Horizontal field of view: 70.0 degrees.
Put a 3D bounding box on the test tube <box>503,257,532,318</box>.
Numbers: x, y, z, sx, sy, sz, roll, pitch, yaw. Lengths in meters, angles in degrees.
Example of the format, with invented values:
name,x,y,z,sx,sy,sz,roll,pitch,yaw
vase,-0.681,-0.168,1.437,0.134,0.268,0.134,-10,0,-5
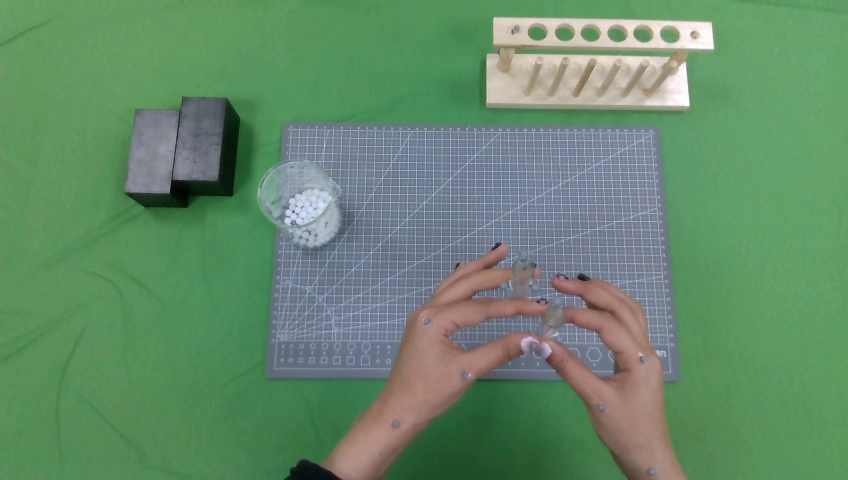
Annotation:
name,x,y,z,sx,sy,sz,roll,pitch,yaw
test tube,0.071,0.041,0.471,0.017,0.151,0.017,-2,72,5

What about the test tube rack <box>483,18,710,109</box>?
name,x,y,z,sx,sy,sz,roll,pitch,yaw
test tube rack,0.194,-0.203,0.705,0.242,0.085,0.066,1,76,0

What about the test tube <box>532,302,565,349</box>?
name,x,y,z,sx,sy,sz,roll,pitch,yaw
test tube,0.095,0.070,0.474,0.017,0.151,0.017,-2,73,7

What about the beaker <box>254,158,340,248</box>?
name,x,y,z,sx,sy,sz,roll,pitch,yaw
beaker,-0.128,-0.036,0.651,0.084,0.100,0.073,-7,76,-3
